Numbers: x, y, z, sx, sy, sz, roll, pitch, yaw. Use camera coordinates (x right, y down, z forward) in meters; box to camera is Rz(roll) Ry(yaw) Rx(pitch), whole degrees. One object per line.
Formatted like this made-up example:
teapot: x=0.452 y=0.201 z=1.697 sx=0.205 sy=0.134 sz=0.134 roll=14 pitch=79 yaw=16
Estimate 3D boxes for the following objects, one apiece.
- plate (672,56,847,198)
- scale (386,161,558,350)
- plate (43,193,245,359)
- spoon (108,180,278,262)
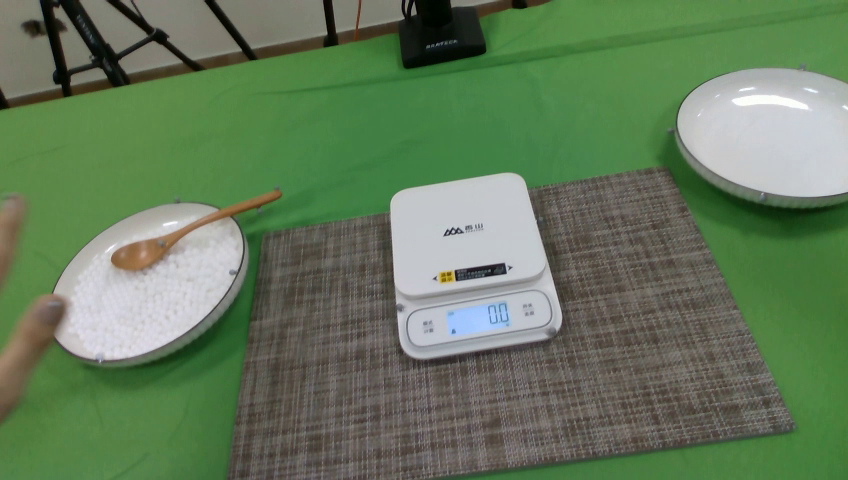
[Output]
plate: x=0.366 y=-0.116 z=0.629 sx=0.207 sy=0.039 sz=0.205 roll=-6 pitch=50 yaw=7
scale: x=0.040 y=0.007 z=0.592 sx=0.148 sy=0.032 sz=0.199 roll=-10 pitch=50 yaw=4
plate: x=-0.286 y=0.037 z=0.636 sx=0.209 sy=0.038 sz=0.207 roll=-5 pitch=50 yaw=7
spoon: x=-0.249 y=-0.024 z=0.658 sx=0.194 sy=0.022 sz=0.041 roll=-25 pitch=50 yaw=0
